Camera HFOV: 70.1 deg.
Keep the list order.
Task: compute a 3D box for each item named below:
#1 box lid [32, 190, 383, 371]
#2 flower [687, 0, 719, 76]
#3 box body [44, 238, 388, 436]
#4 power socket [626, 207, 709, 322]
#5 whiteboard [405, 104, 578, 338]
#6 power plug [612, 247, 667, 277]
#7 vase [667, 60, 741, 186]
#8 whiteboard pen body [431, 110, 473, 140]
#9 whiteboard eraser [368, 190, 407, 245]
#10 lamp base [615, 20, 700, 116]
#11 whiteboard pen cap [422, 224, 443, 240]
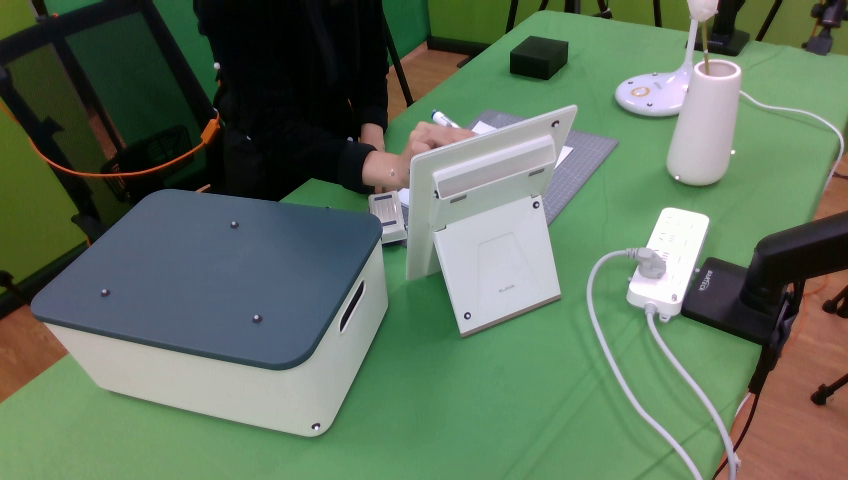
[{"bbox_3d":[-0.257,0.032,0.750,0.370,0.015,0.263,7,41,16],"label":"box lid"},{"bbox_3d":[0.436,-0.242,0.934,0.038,0.364,0.043,-25,49,8],"label":"flower"},{"bbox_3d":[-0.251,0.088,0.799,0.362,0.161,0.254,7,42,16],"label":"box body"},{"bbox_3d":[0.360,0.026,0.886,0.072,0.033,0.227,17,46,27],"label":"power socket"},{"bbox_3d":[0.102,0.003,0.787,0.218,0.306,0.143,-19,62,-13],"label":"whiteboard"},{"bbox_3d":[0.306,0.031,0.852,0.072,0.053,0.035,21,48,37],"label":"power plug"},{"bbox_3d":[0.463,-0.189,0.994,0.098,0.201,0.097,-4,40,4],"label":"vase"},{"bbox_3d":[0.056,-0.134,0.799,0.017,0.017,0.139,-29,54,-24],"label":"whiteboard pen body"},{"bbox_3d":[-0.061,-0.035,1.006,0.056,0.042,0.112,-9,40,-3],"label":"whiteboard eraser"},{"bbox_3d":[0.484,-0.364,1.211,0.180,0.181,0.159,-15,41,-14],"label":"lamp base"},{"bbox_3d":[0.013,-0.013,0.988,0.033,0.018,0.018,-30,46,-21],"label":"whiteboard pen cap"}]
